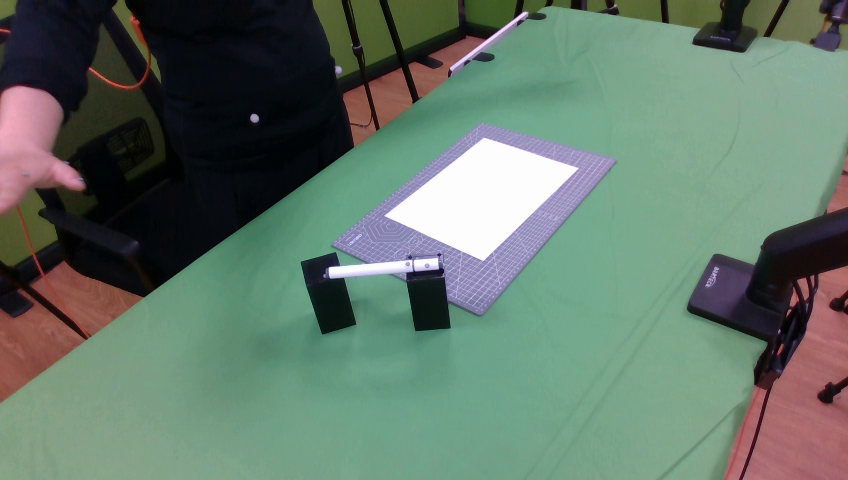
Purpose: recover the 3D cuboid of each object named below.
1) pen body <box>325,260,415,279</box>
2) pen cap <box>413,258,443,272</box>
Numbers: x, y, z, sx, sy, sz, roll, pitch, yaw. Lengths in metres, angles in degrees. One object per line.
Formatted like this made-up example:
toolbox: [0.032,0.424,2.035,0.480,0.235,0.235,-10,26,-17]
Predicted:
pen body: [-0.056,0.037,0.784,0.144,0.017,0.017,-5,40,4]
pen cap: [0.005,0.031,0.781,0.038,0.017,0.017,-5,40,3]
